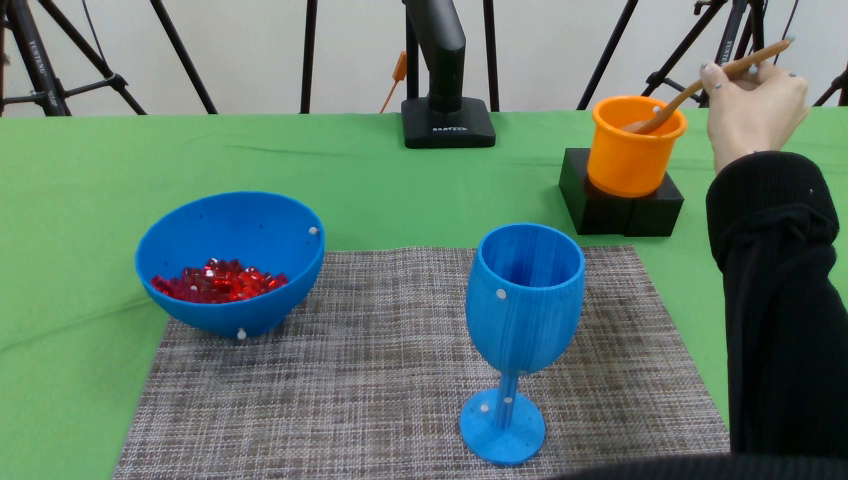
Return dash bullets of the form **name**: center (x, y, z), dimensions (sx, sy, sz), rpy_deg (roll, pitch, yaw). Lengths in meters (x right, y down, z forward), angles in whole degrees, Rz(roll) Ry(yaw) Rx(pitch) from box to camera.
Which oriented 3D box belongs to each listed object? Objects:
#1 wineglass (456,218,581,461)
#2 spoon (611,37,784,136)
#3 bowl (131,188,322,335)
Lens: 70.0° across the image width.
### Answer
- **wineglass**: center (0.058, 0.072, 0.406), dimensions (0.074, 0.174, 0.073), rpy_deg (1, 40, -1)
- **spoon**: center (0.239, -0.134, 0.551), dimensions (0.041, 0.194, 0.021), rpy_deg (-30, 87, -23)
- **bowl**: center (-0.161, 0.028, 0.524), dimensions (0.151, 0.077, 0.150), rpy_deg (1, 40, -1)
